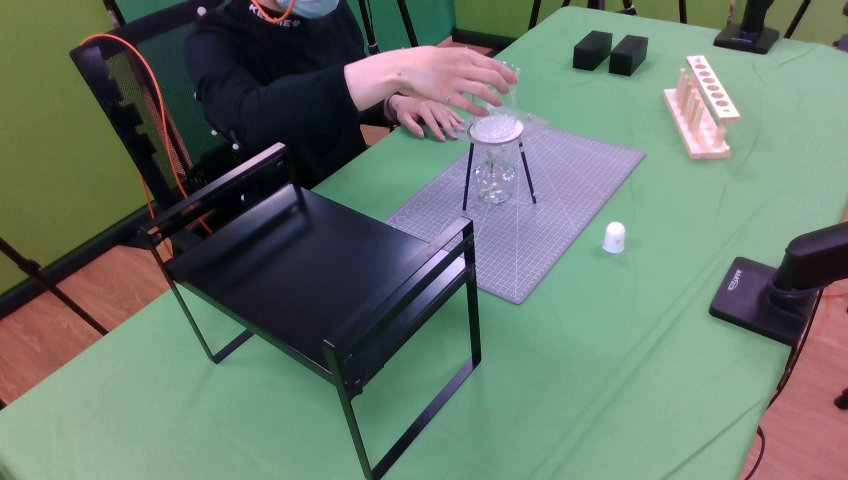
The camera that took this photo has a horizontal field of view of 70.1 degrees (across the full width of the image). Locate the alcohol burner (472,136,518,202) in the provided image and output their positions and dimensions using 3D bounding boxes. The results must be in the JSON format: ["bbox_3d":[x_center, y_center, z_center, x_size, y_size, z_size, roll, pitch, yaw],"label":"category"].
[{"bbox_3d":[0.121,-0.124,1.023,0.078,0.119,0.077,-3,42,3],"label":"alcohol burner"}]

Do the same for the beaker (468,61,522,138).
[{"bbox_3d":[0.112,-0.218,0.940,0.084,0.101,0.073,-13,39,-7],"label":"beaker"}]

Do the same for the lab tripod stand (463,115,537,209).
[{"bbox_3d":[0.120,-0.134,1.018,0.148,0.132,0.147,-5,39,5],"label":"lab tripod stand"}]

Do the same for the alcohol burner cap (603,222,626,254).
[{"bbox_3d":[0.291,-0.006,0.921,0.034,0.048,0.033,-4,40,4],"label":"alcohol burner cap"}]

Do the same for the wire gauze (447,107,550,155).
[{"bbox_3d":[0.119,-0.182,0.974,0.122,0.011,0.124,-32,42,-29],"label":"wire gauze"}]

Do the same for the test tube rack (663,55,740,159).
[{"bbox_3d":[0.518,-0.256,1.144,0.066,0.085,0.241,-1,41,8],"label":"test tube rack"}]
